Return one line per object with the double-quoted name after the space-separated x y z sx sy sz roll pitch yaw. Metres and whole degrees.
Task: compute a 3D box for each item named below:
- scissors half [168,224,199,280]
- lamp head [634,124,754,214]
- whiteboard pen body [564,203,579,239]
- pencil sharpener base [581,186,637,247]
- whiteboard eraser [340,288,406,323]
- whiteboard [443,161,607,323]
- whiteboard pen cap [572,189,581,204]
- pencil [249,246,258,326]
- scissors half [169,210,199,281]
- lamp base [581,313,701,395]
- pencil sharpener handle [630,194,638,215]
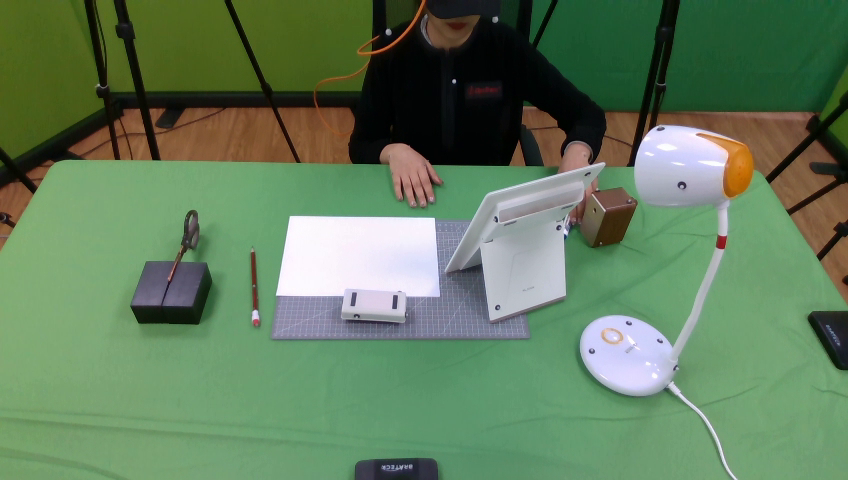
-0.440 0.023 1.111 0.013 0.040 0.174 7 29 -6 "scissors half"
0.351 -0.089 0.776 0.112 0.113 0.122 -30 30 -28 "lamp head"
0.308 -0.053 1.271 0.017 0.017 0.140 18 50 13 "whiteboard pen body"
0.369 -0.047 1.209 0.077 0.107 0.061 -11 47 -15 "pencil sharpener base"
-0.088 0.117 1.060 0.113 0.042 0.055 3 45 -1 "whiteboard eraser"
0.185 0.025 1.029 0.217 0.306 0.143 -15 68 -18 "whiteboard"
0.329 -0.094 1.308 0.018 0.018 0.033 17 50 12 "whiteboard pen cap"
-0.312 0.079 1.106 0.012 0.012 0.192 -8 46 -11 "pencil"
-0.438 0.007 1.098 0.013 0.040 0.174 3 47 -3 "scissors half"
0.361 0.144 0.972 0.178 0.181 0.160 34 53 23 "lamp base"
0.417 -0.068 1.215 0.031 0.068 0.036 -11 60 -14 "pencil sharpener handle"
